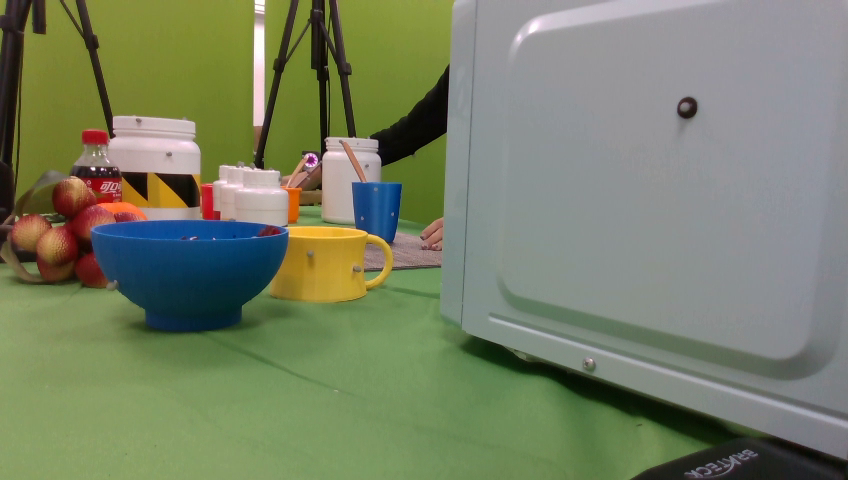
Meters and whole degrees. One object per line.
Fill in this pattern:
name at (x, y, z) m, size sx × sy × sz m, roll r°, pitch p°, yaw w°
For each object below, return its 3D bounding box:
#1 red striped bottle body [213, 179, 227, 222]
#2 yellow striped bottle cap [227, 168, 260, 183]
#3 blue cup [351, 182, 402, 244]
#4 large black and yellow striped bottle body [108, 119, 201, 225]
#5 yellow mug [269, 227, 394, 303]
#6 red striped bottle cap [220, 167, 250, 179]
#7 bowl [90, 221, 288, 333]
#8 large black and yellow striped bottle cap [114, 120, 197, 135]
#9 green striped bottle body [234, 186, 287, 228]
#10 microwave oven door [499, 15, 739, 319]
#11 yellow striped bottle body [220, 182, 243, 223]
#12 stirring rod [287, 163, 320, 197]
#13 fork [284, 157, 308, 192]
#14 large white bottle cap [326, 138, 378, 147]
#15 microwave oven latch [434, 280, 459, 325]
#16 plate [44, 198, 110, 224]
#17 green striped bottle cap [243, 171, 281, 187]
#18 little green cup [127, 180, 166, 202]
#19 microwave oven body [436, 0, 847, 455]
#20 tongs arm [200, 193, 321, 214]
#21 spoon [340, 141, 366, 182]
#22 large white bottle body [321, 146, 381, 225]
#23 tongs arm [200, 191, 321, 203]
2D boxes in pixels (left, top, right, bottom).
red striped bottle body at (-0.284, -0.048, 0.909) m, size 0.063 × 0.119 × 0.063 m, roll 3°, pitch 12°, yaw 0°
yellow striped bottle cap at (-0.243, -0.087, 0.818) m, size 0.044 × 0.018 × 0.044 m, roll 3°, pitch 6°, yaw 0°
blue cup at (-0.080, -0.046, 1.012) m, size 0.093 × 0.100 × 0.092 m, roll 1°, pitch 7°, yaw 0°
large black and yellow striped bottle body at (-0.412, -0.088, 0.930) m, size 0.131 × 0.184 × 0.130 m, roll 3°, pitch 7°, yaw 0°
yellow mug at (-0.094, 0.023, 0.629) m, size 0.131 × 0.064 × 0.099 m, roll 0°, pitch 6°, yaw -22°
red striped bottle cap at (-0.281, -0.100, 0.901) m, size 0.044 × 0.017 × 0.044 m, roll -1°, pitch 5°, yaw 0°
bowl at (-0.190, 0.029, 0.500) m, size 0.151 × 0.077 × 0.151 m, roll 3°, pitch 7°, yaw 0°
large black and yellow striped bottle cap at (-0.407, -0.171, 0.920) m, size 0.115 × 0.019 × 0.115 m, roll 2°, pitch 9°, yaw 0°
green striped bottle body at (-0.200, -0.023, 0.743) m, size 0.063 × 0.119 × 0.063 m, roll 2°, pitch 7°, yaw 0°
microwave oven door at (0.216, -0.065, 0.602) m, size 0.358 × 0.243 × 0.039 m, roll -4°, pitch 11°, yaw -41°
yellow striped bottle body at (-0.245, -0.036, 0.825) m, size 0.063 × 0.120 × 0.063 m, roll 3°, pitch 8°, yaw 0°
stirring rod at (-0.283, -0.107, 1.298) m, size 0.014 × 0.006 × 0.176 m, roll 9°, pitch 52°, yaw 51°
fork at (-0.295, -0.116, 1.323) m, size 0.028 × 0.019 × 0.207 m, roll 1°, pitch 50°, yaw 20°
large white bottle cap at (-0.158, -0.214, 1.329) m, size 0.115 × 0.018 × 0.115 m, roll 2°, pitch 8°, yaw 0°
microwave oven latch at (0.044, 0.045, 0.470) m, size 0.079 × 0.029 × 0.030 m, roll -2°, pitch 8°, yaw -39°
plate at (-0.617, -0.056, 1.179) m, size 0.209 × 0.038 × 0.209 m, roll 3°, pitch 7°, yaw 0°
green striped bottle cap at (-0.198, -0.074, 0.736) m, size 0.044 × 0.020 × 0.044 m, roll 1°, pitch 7°, yaw 0°
little green cup at (-0.485, -0.086, 1.061) m, size 0.061 × 0.038 × 0.061 m, roll 1°, pitch 7°, yaw 0°
microwave oven body at (0.279, -0.040, 0.465) m, size 0.444 × 0.260 × 0.324 m, roll -3°, pitch 9°, yaw -41°
tongs arm at (-0.367, -0.092, 1.447) m, size 0.387 × 0.026 × 0.050 m, roll -9°, pitch 13°, yaw -42°
spoon at (-0.103, -0.089, 1.028) m, size 0.021 × 0.193 × 0.042 m, roll -32°, pitch -19°, yaw 35°
large white bottle body at (-0.161, -0.131, 1.340) m, size 0.131 × 0.184 × 0.130 m, roll 2°, pitch 7°, yaw 0°
tongs arm at (-0.409, -0.102, 1.495) m, size 0.390 × 0.028 × 0.028 m, roll -6°, pitch 8°, yaw -34°
